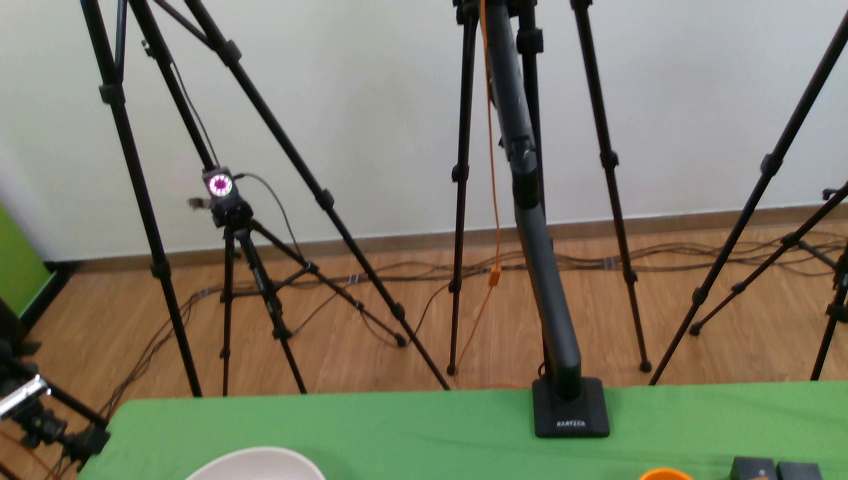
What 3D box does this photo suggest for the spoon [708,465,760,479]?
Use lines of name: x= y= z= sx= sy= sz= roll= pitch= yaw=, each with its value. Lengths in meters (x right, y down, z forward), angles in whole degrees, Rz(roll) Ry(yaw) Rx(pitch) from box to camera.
spoon: x=0.359 y=0.338 z=0.811 sx=0.022 sy=0.194 sz=0.041 roll=29 pitch=40 yaw=-20

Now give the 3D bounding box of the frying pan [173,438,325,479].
frying pan: x=-0.260 y=0.491 z=0.813 sx=0.307 sy=0.103 sz=0.483 roll=-14 pitch=31 yaw=-2
